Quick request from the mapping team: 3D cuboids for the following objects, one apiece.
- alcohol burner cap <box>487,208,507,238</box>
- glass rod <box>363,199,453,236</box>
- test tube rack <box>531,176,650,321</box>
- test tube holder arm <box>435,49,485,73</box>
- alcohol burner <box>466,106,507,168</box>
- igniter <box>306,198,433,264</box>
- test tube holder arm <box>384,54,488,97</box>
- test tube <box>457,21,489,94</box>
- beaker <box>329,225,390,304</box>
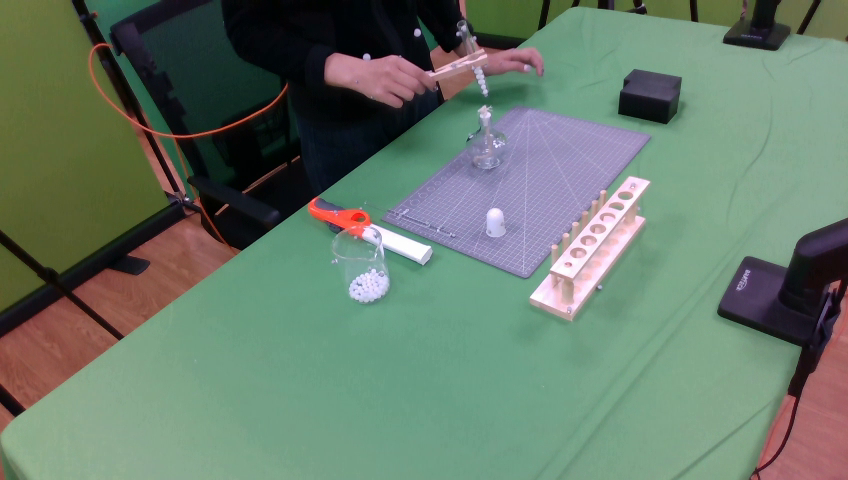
[{"bbox_3d":[0.116,-0.030,0.975,0.034,0.048,0.033,-6,40,5],"label":"alcohol burner cap"},{"bbox_3d":[-0.031,-0.041,1.041,0.198,0.008,0.008,22,50,31],"label":"glass rod"},{"bbox_3d":[0.246,0.002,0.884,0.066,0.085,0.243,22,49,32],"label":"test tube rack"},{"bbox_3d":[0.060,-0.290,0.996,0.088,0.015,0.010,-25,51,-1],"label":"test tube holder arm"},{"bbox_3d":[0.114,-0.193,1.112,0.078,0.119,0.077,-4,41,4],"label":"alcohol burner"},{"bbox_3d":[-0.102,-0.020,1.019,0.274,0.025,0.057,22,59,32],"label":"igniter"},{"bbox_3d":[0.019,-0.270,0.994,0.178,0.015,0.013,-19,50,4],"label":"test tube holder arm"},{"bbox_3d":[0.082,-0.296,0.992,0.017,0.151,0.017,-11,55,16],"label":"test tube"},{"bbox_3d":[-0.089,0.040,0.890,0.074,0.101,0.083,-32,46,-24],"label":"beaker"}]
